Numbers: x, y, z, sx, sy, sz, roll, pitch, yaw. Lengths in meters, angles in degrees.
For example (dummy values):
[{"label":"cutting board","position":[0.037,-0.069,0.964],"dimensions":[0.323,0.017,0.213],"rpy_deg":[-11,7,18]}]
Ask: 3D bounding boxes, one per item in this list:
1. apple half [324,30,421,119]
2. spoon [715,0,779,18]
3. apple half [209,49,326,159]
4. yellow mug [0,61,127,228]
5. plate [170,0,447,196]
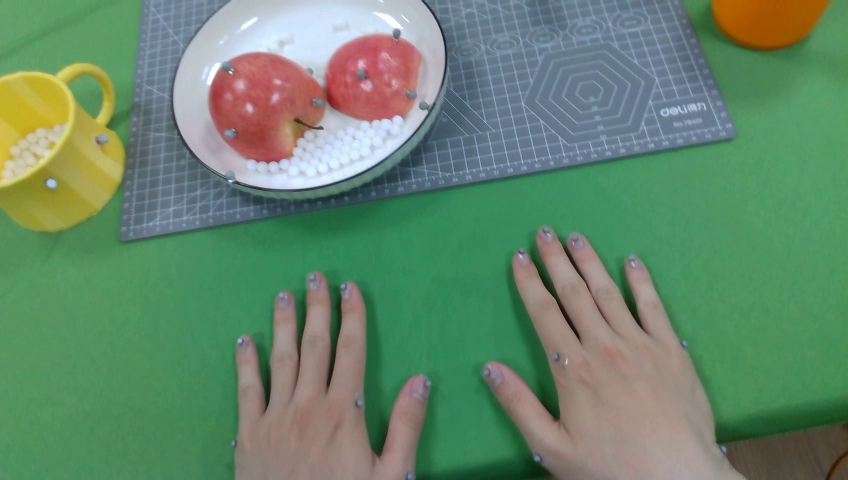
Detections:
[{"label":"apple half","position":[-0.041,-0.131,0.453],"dimensions":[0.081,0.033,0.080],"rpy_deg":[-2,68,5]},{"label":"spoon","position":[0.289,-0.211,0.398],"dimensions":[0.022,0.193,0.041],"rpy_deg":[13,61,-36]},{"label":"apple half","position":[-0.119,-0.107,0.441],"dimensions":[0.074,0.054,0.080],"rpy_deg":[34,75,22]},{"label":"yellow mug","position":[-0.279,-0.080,0.454],"dimensions":[0.099,0.064,0.130],"rpy_deg":[23,70,16]},{"label":"plate","position":[-0.085,-0.121,0.461],"dimensions":[0.209,0.038,0.207],"rpy_deg":[-2,66,6]}]
